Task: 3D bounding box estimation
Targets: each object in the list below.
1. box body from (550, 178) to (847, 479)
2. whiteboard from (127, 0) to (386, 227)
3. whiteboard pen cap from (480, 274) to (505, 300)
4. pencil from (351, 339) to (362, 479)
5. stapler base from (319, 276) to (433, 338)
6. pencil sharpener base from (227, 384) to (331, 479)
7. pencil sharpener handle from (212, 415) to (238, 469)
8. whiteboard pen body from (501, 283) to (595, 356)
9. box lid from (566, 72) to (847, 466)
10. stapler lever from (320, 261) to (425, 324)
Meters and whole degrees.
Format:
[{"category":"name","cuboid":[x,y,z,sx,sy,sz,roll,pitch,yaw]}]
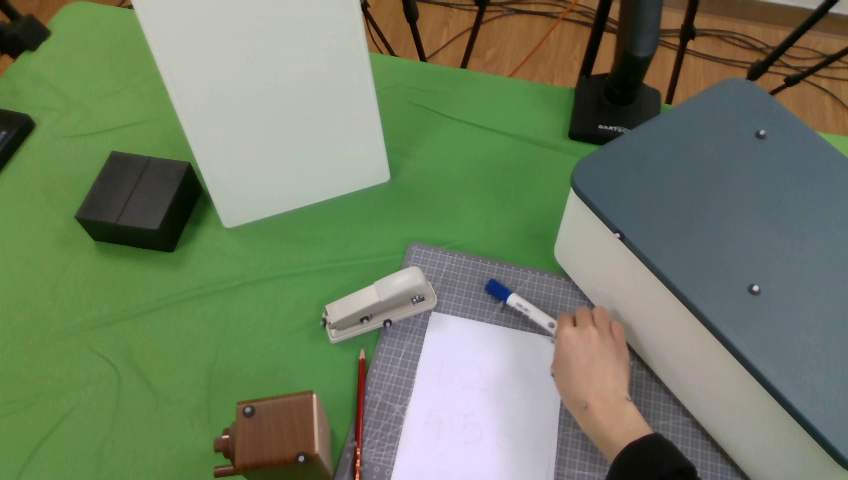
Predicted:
[{"category":"box body","cuboid":[0.338,0.034,0.633,0.254,0.161,0.361,-30,64,-18]},{"category":"whiteboard","cuboid":[-0.188,-0.205,0.717,0.217,0.308,0.142,-18,42,-11]},{"category":"whiteboard pen cap","cuboid":[0.082,0.054,0.695,0.033,0.018,0.018,34,63,24]},{"category":"pencil","cuboid":[-0.069,0.191,0.616,0.012,0.012,0.192,-1,59,-2]},{"category":"stapler base","cuboid":[-0.054,0.068,0.682,0.131,0.024,0.041,-19,57,-9]},{"category":"pencil sharpener base","cuboid":[-0.132,0.183,0.564,0.077,0.108,0.061,-7,60,-5]},{"category":"pencil sharpener handle","cuboid":[-0.182,0.186,0.546,0.031,0.068,0.035,-7,43,-5]},{"category":"whiteboard pen body","cuboid":[0.127,0.081,0.669,0.139,0.017,0.017,37,64,25]},{"category":"box lid","cuboid":[0.338,-0.006,0.571,0.263,0.015,0.368,-29,65,-18]},{"category":"stapler lever","cuboid":[-0.056,0.056,0.661,0.118,0.040,0.026,-19,57,-9]}]
